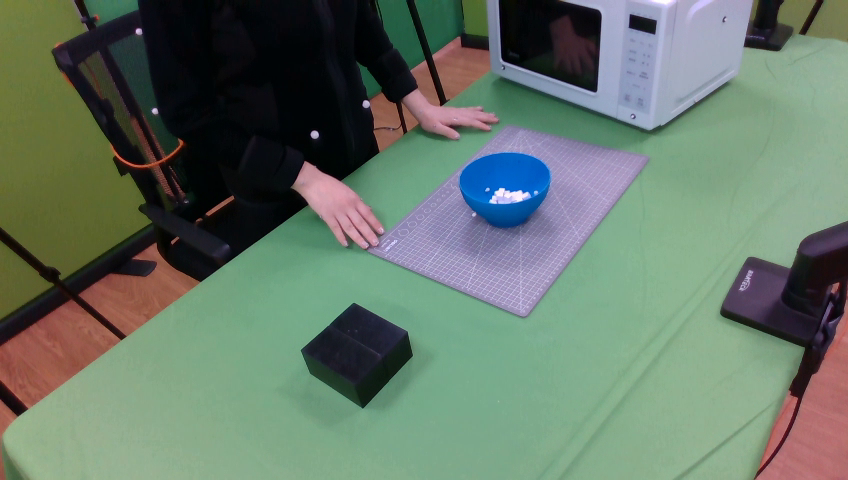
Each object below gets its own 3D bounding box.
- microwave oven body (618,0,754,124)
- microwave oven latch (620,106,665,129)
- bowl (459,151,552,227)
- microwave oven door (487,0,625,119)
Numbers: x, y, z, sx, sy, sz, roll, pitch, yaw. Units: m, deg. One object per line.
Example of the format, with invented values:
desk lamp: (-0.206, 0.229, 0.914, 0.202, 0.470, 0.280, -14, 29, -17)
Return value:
microwave oven body: (0.402, -0.458, 1.259, 0.327, 0.261, 0.437, -33, 45, -24)
microwave oven latch: (0.412, -0.237, 1.146, 0.030, 0.029, 0.078, -32, 44, -23)
bowl: (0.136, -0.074, 1.000, 0.151, 0.077, 0.150, -5, 40, 5)
microwave oven door: (0.262, -0.409, 1.221, 0.039, 0.245, 0.352, -33, 45, -25)
